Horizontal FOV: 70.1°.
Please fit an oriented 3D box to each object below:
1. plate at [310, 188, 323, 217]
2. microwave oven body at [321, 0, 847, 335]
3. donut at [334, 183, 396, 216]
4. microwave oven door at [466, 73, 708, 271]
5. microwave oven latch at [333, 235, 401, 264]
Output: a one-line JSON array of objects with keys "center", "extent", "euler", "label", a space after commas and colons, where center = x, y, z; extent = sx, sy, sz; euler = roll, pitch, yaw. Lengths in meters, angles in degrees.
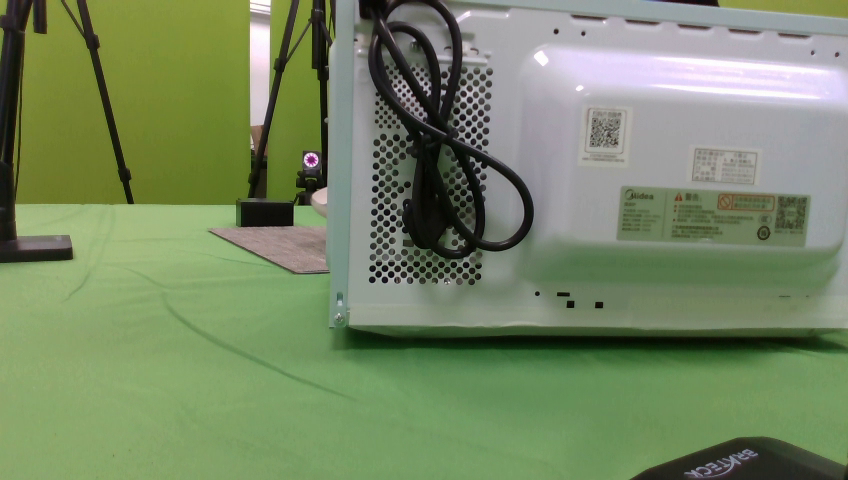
[{"center": [-0.080, -0.057, 0.986], "extent": [0.209, 0.038, 0.209], "euler": [1, 18, 0], "label": "plate"}, {"center": [0.133, -0.062, 0.568], "extent": [0.443, 0.260, 0.325], "euler": [2, 6, -8], "label": "microwave oven body"}, {"center": [-0.094, -0.065, 0.974], "extent": [0.099, 0.048, 0.099], "euler": [0, 16, 0], "label": "donut"}, {"center": [0.207, -0.101, 0.859], "extent": [0.354, 0.243, 0.039], "euler": [9, 10, 44], "label": "microwave oven door"}, {"center": [-0.066, 0.011, 0.701], "extent": [0.079, 0.029, 0.030], "euler": [2, 6, -8], "label": "microwave oven latch"}]
